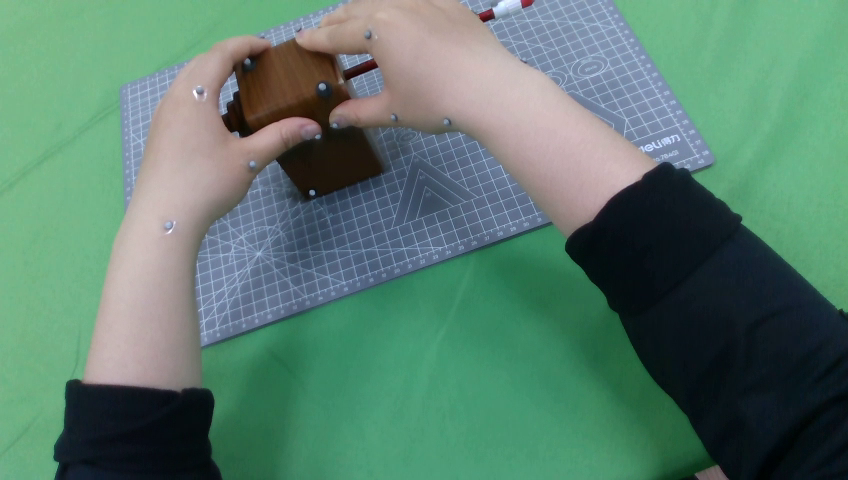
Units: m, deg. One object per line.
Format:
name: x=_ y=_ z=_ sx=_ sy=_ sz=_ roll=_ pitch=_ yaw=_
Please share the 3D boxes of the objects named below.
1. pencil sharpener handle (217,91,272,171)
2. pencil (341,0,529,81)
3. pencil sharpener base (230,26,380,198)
pencil sharpener handle: x=-0.136 y=-0.075 z=0.440 sx=0.030 sy=0.068 sz=0.035 roll=-23 pitch=60 yaw=2
pencil: x=-0.017 y=-0.131 z=0.423 sx=0.194 sy=0.012 sz=0.012 roll=-23 pitch=61 yaw=3
pencil sharpener base: x=-0.086 y=-0.089 z=0.450 sx=0.077 sy=0.108 sz=0.061 roll=-23 pitch=61 yaw=2
